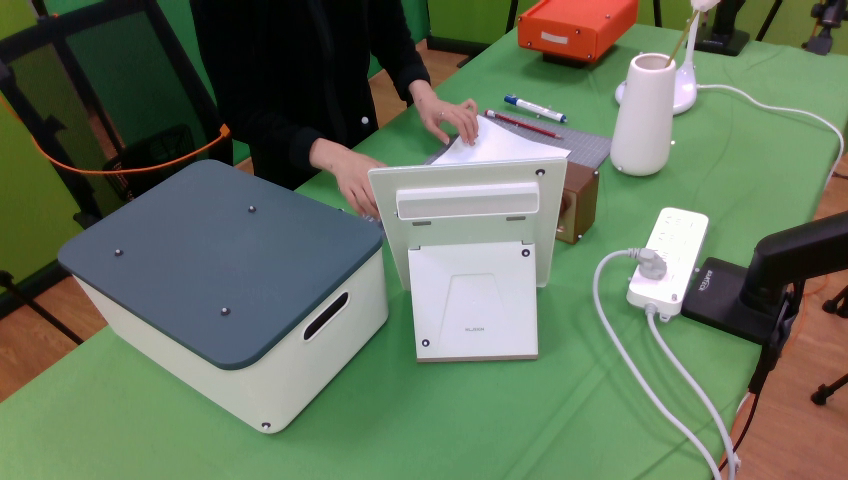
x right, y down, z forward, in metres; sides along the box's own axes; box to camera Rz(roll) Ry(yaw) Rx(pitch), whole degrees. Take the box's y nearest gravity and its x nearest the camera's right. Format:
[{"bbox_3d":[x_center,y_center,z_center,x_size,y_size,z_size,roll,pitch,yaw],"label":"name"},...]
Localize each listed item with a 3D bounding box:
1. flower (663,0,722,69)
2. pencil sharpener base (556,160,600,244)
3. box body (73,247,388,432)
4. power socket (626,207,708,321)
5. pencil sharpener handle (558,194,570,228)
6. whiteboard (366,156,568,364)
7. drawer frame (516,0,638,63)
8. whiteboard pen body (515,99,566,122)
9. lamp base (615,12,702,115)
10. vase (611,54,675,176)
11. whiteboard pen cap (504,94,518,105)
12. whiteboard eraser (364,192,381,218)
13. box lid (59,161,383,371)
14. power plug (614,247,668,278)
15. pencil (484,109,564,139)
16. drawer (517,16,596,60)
[{"bbox_3d":[0.379,-0.261,0.965,0.044,0.362,0.038,20,53,5],"label":"flower"},{"bbox_3d":[0.228,-0.057,0.945,0.061,0.107,0.077,24,50,31],"label":"pencil sharpener base"},{"bbox_3d":[-0.255,0.065,0.827,0.361,0.161,0.255,21,48,29],"label":"box body"},{"bbox_3d":[0.359,0.025,0.886,0.072,0.033,0.227,16,46,26],"label":"power socket"},{"bbox_3d":[0.195,-0.038,0.908,0.035,0.068,0.031,24,50,30],"label":"pencil sharpener handle"},{"bbox_3d":[0.059,0.050,0.738,0.217,0.307,0.143,-2,60,6],"label":"whiteboard"},{"bbox_3d":[0.355,-0.508,1.410,0.200,0.083,0.214,23,51,32],"label":"drawer frame"},{"bbox_3d":[0.234,-0.274,1.262,0.139,0.017,0.017,28,51,29],"label":"whiteboard pen body"},{"bbox_3d":[0.484,-0.363,1.211,0.180,0.181,0.159,-15,41,-14],"label":"lamp base"},{"bbox_3d":[0.377,-0.209,1.031,0.098,0.201,0.097,-3,40,3],"label":"vase"},{"bbox_3d":[0.190,-0.299,1.292,0.033,0.018,0.018,30,52,28],"label":"whiteboard pen cap"},{"bbox_3d":[-0.039,-0.057,0.994,0.112,0.042,0.055,13,55,31],"label":"whiteboard eraser"},{"bbox_3d":[-0.262,0.010,0.777,0.369,0.015,0.264,21,48,29],"label":"box lid"},{"bbox_3d":[0.306,0.031,0.851,0.072,0.053,0.035,24,49,33],"label":"power plug"},{"bbox_3d":[0.201,-0.235,1.228,0.192,0.012,0.012,28,51,32],"label":"pencil"},{"bbox_3d":[0.352,-0.506,1.405,0.193,0.073,0.212,23,49,32],"label":"drawer"}]
